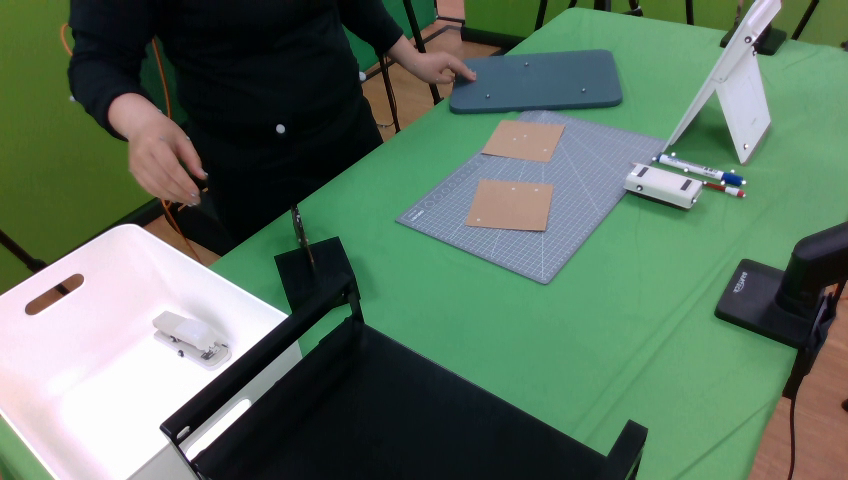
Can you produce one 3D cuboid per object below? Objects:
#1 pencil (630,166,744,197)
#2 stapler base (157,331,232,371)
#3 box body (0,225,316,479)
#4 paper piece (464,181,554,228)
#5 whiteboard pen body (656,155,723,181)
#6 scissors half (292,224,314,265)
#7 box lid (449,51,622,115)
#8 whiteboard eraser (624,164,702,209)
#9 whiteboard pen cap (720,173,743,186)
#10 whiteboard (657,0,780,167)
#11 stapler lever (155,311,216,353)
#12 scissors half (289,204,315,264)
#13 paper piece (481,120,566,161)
[{"bbox_3d":[0.447,-0.103,1.038,0.192,0.012,0.012,21,48,29],"label":"pencil"},{"bbox_3d":[-0.326,0.142,0.849,0.129,0.024,0.041,18,44,32],"label":"stapler base"},{"bbox_3d":[-0.339,0.162,0.728,0.361,0.161,0.255,23,48,31],"label":"box body"},{"bbox_3d":[0.149,-0.062,1.034,0.137,0.009,0.136,4,37,17],"label":"paper piece"},{"bbox_3d":[0.475,-0.122,1.052,0.139,0.017,0.017,25,50,32],"label":"whiteboard pen body"},{"bbox_3d":[-0.188,0.007,0.955,0.013,0.040,0.174,-21,22,-12],"label":"scissors half"},{"bbox_3d":[0.250,-0.358,1.370,0.371,0.015,0.262,-1,40,9],"label":"box lid"},{"bbox_3d":[0.396,-0.086,1.003,0.112,0.042,0.056,22,47,31],"label":"whiteboard eraser"},{"bbox_3d":[0.519,-0.103,1.020,0.033,0.018,0.018,23,49,30],"label":"whiteboard pen cap"},{"bbox_3d":[0.571,-0.272,1.038,0.143,0.306,0.218,37,54,17],"label":"whiteboard"},{"bbox_3d":[-0.331,0.122,0.834,0.117,0.040,0.027,17,44,32],"label":"stapler lever"},{"bbox_3d":[-0.191,-0.010,0.944,0.013,0.040,0.173,-16,38,-15],"label":"scissors half"},{"bbox_3d":[0.197,-0.199,1.188,0.135,0.004,0.135,11,44,21],"label":"paper piece"}]
